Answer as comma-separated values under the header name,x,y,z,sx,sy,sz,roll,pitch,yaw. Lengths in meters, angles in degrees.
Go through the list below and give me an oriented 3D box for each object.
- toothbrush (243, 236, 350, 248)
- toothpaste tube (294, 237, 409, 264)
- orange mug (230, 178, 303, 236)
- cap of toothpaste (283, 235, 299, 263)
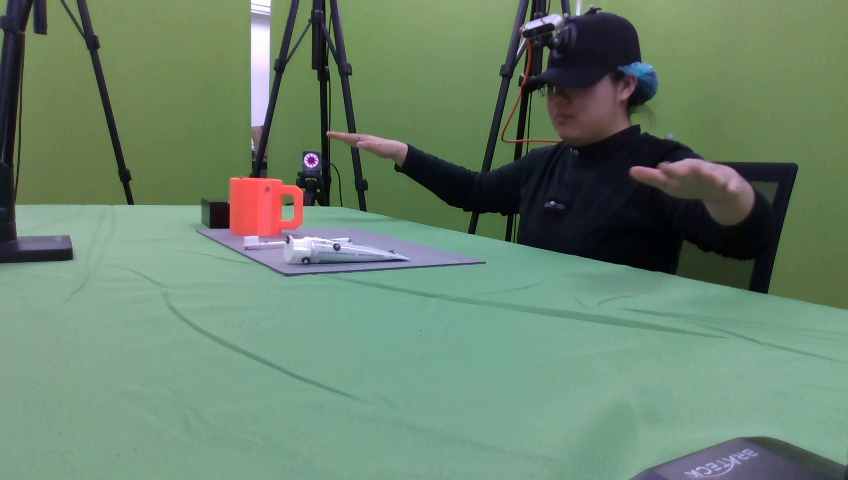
name,x,y,z,sx,sy,sz,roll,pitch,yaw
toothbrush,-0.191,0.001,0.927,0.183,0.016,0.014,-2,-8,-41
toothpaste tube,-0.101,0.016,0.806,0.166,0.034,0.055,3,12,-34
orange mug,-0.275,-0.060,1.058,0.126,0.101,0.083,-2,8,-5
cap of toothpaste,-0.168,0.012,0.764,0.011,0.037,0.037,3,6,-34
